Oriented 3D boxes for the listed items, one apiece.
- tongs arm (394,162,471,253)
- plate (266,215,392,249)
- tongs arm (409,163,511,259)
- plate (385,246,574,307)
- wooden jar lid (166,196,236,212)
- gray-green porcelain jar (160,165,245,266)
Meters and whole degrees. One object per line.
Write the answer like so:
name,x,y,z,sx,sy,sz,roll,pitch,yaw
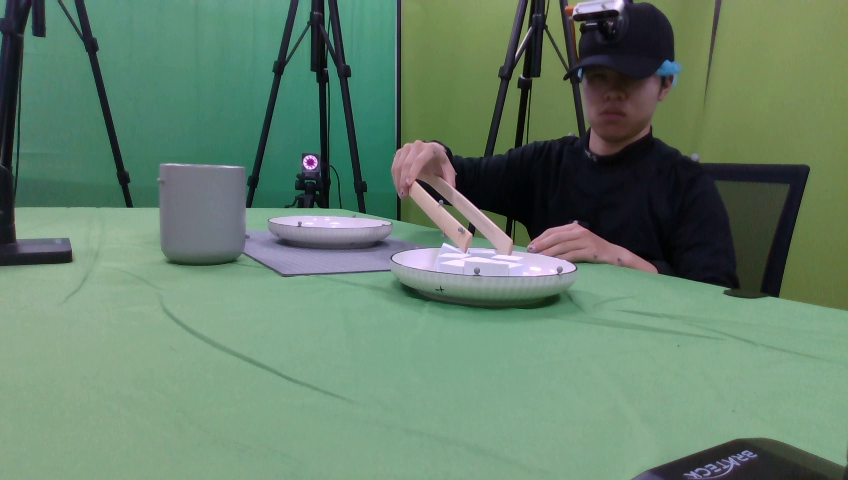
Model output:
tongs arm,0.012,-0.059,0.886,0.051,0.026,0.383,6,18,-21
plate,-0.159,-0.015,1.019,0.209,0.038,0.209,3,7,0
tongs arm,0.044,-0.055,0.897,0.028,0.028,0.386,3,20,-19
plate,0.060,0.041,0.678,0.208,0.039,0.207,3,7,0
wooden jar lid,-0.369,-0.059,1.001,0.108,0.020,0.108,3,6,0
gray-green porcelain jar,-0.291,-0.034,0.799,0.106,0.126,0.106,2,8,0
